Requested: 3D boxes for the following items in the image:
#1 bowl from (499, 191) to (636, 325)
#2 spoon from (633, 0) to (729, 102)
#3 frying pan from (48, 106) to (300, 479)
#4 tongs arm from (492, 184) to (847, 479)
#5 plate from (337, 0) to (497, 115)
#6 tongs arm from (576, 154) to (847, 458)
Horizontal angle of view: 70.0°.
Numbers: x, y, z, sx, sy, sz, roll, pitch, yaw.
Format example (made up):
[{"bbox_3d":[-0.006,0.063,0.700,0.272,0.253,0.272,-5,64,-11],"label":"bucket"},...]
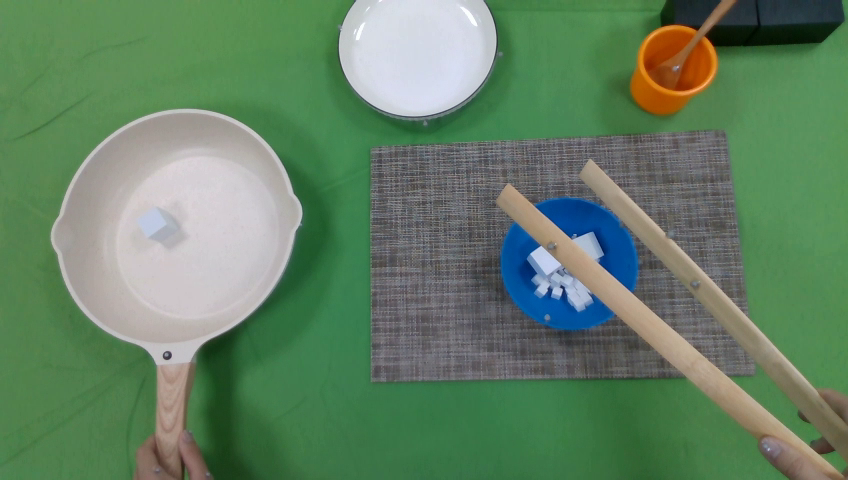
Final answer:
[{"bbox_3d":[0.160,0.026,0.703,0.151,0.077,0.150,-1,79,4],"label":"bowl"},{"bbox_3d":[0.319,-0.244,0.713,0.041,0.194,0.022,48,41,15],"label":"spoon"},{"bbox_3d":[-0.291,0.080,0.715,0.307,0.103,0.484,-5,71,4],"label":"frying pan"},{"bbox_3d":[0.204,0.080,0.509,0.385,0.028,0.028,42,130,16],"label":"tongs arm"},{"bbox_3d":[-0.009,-0.258,0.795,0.207,0.039,0.206,-1,79,4],"label":"plate"},{"bbox_3d":[0.259,0.058,0.558,0.051,0.026,0.381,-17,58,-39],"label":"tongs arm"}]
